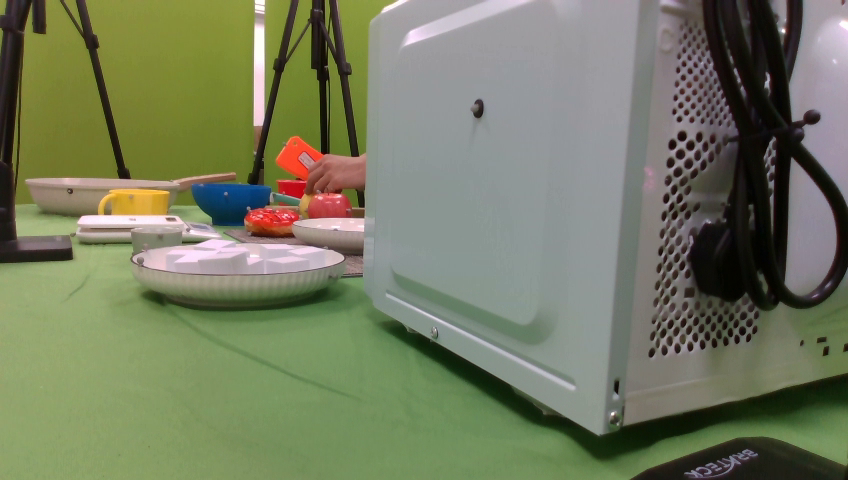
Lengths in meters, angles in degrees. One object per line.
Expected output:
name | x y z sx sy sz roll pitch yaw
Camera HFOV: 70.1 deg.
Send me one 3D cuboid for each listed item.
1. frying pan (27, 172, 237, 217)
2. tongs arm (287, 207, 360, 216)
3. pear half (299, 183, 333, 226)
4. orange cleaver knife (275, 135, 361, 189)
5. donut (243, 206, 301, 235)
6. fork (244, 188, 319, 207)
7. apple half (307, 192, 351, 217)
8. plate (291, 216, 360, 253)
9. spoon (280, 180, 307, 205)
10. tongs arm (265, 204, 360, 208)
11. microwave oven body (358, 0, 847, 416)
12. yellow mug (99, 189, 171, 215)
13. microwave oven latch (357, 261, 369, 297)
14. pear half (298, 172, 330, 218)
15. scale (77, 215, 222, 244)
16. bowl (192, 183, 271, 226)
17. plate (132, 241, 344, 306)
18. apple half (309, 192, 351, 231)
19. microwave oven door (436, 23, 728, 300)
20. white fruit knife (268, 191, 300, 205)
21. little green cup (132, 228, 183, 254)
frying pan | -0.624 -0.118 1.387 0.305 0.102 0.490 8 17 32
tongs arm | -0.174 -0.061 1.363 0.387 0.026 0.050 -1 4 -31
pear half | -0.225 -0.074 1.234 0.071 0.088 0.031 -9 12 -30
orange cleaver knife | -0.198 -0.144 1.224 0.212 0.077 0.012 20 -3 -34
donut | -0.261 -0.032 1.043 0.099 0.048 0.099 4 9 0
fork | -0.356 -0.105 1.526 0.208 0.018 0.028 16 -6 -41
apple half | -0.174 -0.049 1.087 0.081 0.074 0.053 6 11 2
plate | -0.103 -0.009 0.945 0.209 0.038 0.209 2 8 0
spoon | -0.316 -0.159 1.640 0.194 0.022 0.041 -49 32 -20
tongs arm | -0.211 -0.069 1.440 0.389 0.027 0.028 0 0 -17
microwave oven body | 0.211 -0.047 0.474 0.444 0.260 0.324 -1 7 -28
yellow mug | -0.518 -0.055 1.080 0.099 0.064 0.131 6 9 26
microwave oven latch | -0.019 0.033 0.530 0.079 0.029 0.030 -1 7 -26
pear half | -0.209 -0.080 1.201 0.077 0.110 0.055 -11 15 -31
scale | -0.434 -0.019 0.963 0.202 0.031 0.148 -1 9 -27
bowl | -0.382 -0.070 1.202 0.151 0.077 0.151 3 7 0
plate | -0.187 0.033 0.625 0.208 0.039 0.207 2 7 0
apple half | -0.172 -0.055 1.125 0.081 0.081 0.033 2 10 1
microwave oven door | 0.180 -0.073 0.621 0.358 0.243 0.039 -2 9 -29
white fruit knife | -0.364 -0.105 1.464 0.208 0.027 0.016 15 -1 -34
little green cup | -0.342 0.006 0.779 0.061 0.038 0.061 2 8 0
